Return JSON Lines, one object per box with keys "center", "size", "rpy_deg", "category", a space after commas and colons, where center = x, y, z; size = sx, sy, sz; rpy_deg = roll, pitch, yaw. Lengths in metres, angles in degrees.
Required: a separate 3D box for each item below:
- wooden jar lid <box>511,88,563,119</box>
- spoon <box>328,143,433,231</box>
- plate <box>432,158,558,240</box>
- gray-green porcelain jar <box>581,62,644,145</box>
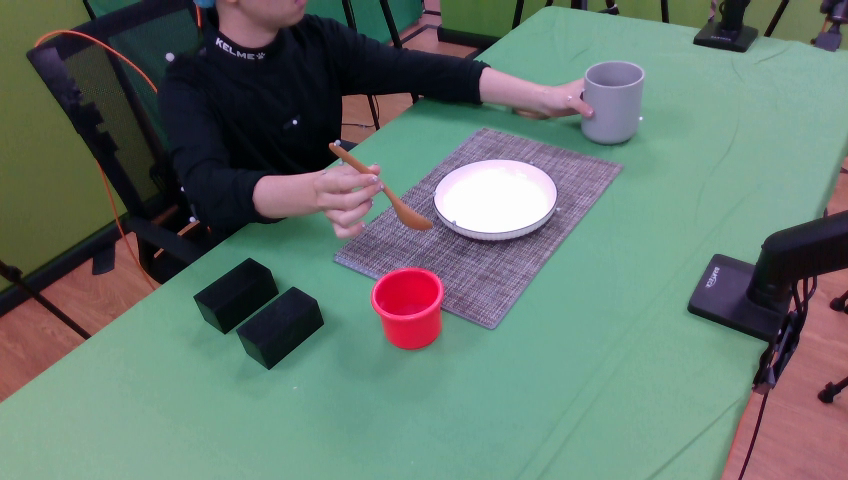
{"center": [0.237, -0.286, 1.272], "size": [0.108, 0.021, 0.108], "rpy_deg": [-4, 44, 4], "category": "wooden jar lid"}
{"center": [-0.053, -0.064, 0.770], "size": [0.041, 0.195, 0.021], "rpy_deg": [-6, 52, 42], "category": "spoon"}
{"center": [0.118, -0.066, 1.013], "size": [0.207, 0.039, 0.206], "rpy_deg": [-4, 41, 4], "category": "plate"}
{"center": [0.349, -0.251, 1.131], "size": [0.106, 0.127, 0.105], "rpy_deg": [-5, 41, 5], "category": "gray-green porcelain jar"}
